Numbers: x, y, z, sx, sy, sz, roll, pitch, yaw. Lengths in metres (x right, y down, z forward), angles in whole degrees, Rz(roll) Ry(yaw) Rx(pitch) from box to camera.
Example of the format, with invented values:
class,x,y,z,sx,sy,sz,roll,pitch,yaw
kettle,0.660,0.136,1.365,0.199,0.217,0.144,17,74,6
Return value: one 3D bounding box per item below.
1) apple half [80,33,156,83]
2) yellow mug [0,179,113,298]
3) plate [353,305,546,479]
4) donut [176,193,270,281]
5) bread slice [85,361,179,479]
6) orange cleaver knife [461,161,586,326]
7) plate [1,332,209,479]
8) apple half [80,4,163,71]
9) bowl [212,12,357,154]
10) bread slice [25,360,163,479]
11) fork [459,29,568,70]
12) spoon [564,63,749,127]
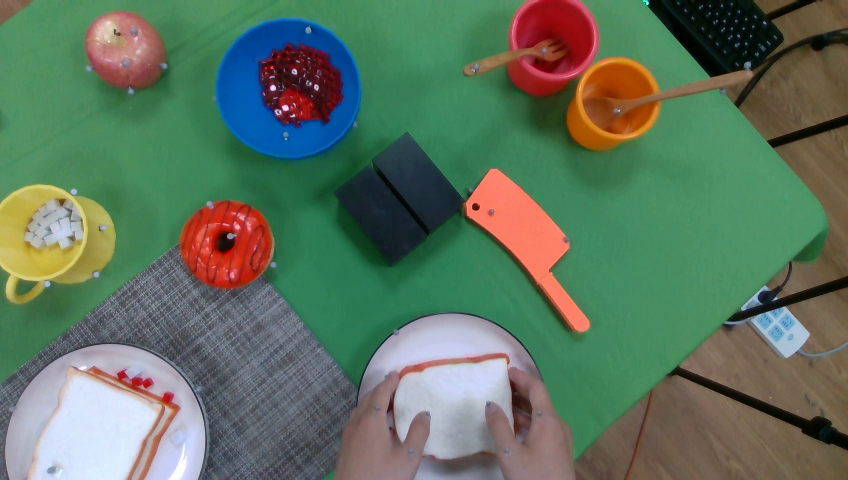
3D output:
class,x,y,z,sx,sy,sz,roll,pitch,yaw
apple half,-0.334,-0.188,0.659,0.081,0.081,0.032,17,79,-1
yellow mug,-0.404,0.003,0.644,0.100,0.064,0.130,26,85,0
plate,0.027,0.174,0.663,0.209,0.038,0.208,0,85,-2
donut,-0.218,-0.003,0.660,0.099,0.048,0.099,0,85,-3
bread slice,-0.336,0.208,0.641,0.105,0.019,0.131,23,83,-1
orange cleaver knife,0.126,0.002,0.694,0.077,0.012,0.211,-39,86,-12
plate,-0.329,0.201,0.640,0.208,0.039,0.207,0,85,-3
apple half,-0.324,-0.225,0.665,0.081,0.075,0.053,16,78,3
bowl,-0.146,-0.160,0.665,0.151,0.077,0.151,0,85,-3
bread slice,-0.336,0.203,0.614,0.107,0.018,0.134,19,83,2
fork,0.099,-0.203,0.647,0.207,0.018,0.028,-30,86,-47
spoon,0.241,-0.157,0.649,0.022,0.193,0.041,4,82,-47
